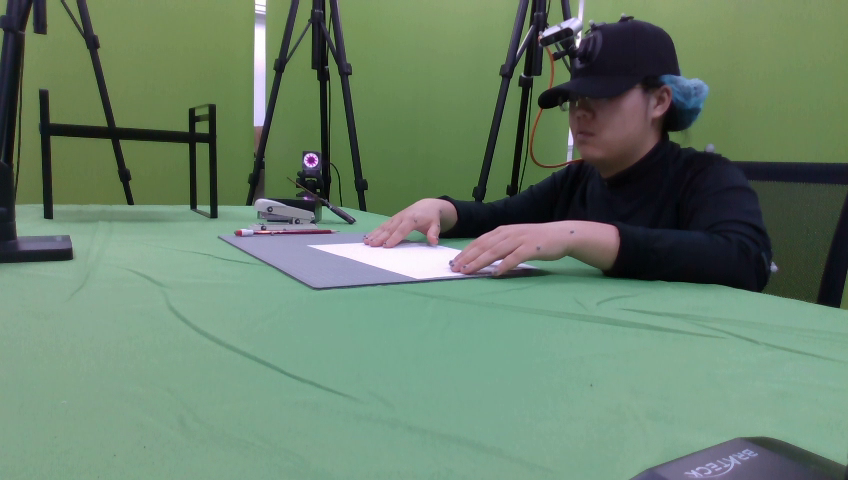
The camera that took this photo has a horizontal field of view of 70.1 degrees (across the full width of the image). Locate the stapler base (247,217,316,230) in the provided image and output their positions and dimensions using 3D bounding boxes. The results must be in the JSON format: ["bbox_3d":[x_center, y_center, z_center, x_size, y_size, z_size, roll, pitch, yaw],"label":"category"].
[{"bbox_3d":[-0.276,-0.033,1.172,0.131,0.024,0.041,0,10,-37],"label":"stapler base"}]

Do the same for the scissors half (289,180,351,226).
[{"bbox_3d":[-0.232,-0.085,1.317,0.175,0.013,0.040,37,19,4],"label":"scissors half"}]

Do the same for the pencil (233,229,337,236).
[{"bbox_3d":[-0.240,-0.013,1.066,0.195,0.012,0.012,-1,8,-37],"label":"pencil"}]

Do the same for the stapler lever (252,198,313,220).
[{"bbox_3d":[-0.273,-0.058,1.170,0.119,0.040,0.026,0,10,-37],"label":"stapler lever"}]

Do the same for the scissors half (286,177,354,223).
[{"bbox_3d":[-0.230,-0.090,1.337,0.175,0.013,0.040,33,14,-13],"label":"scissors half"}]
